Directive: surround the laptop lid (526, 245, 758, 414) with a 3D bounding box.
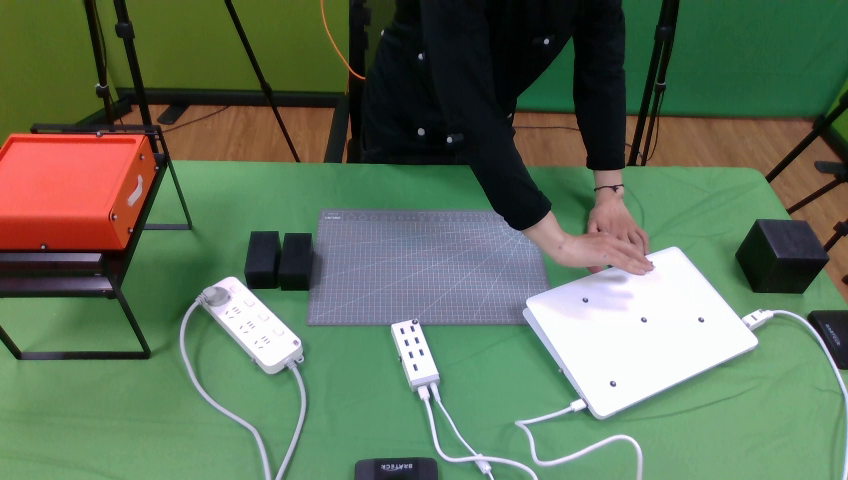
[{"bbox_3d":[0.381,0.141,1.059,0.357,0.013,0.240,-16,56,-19],"label":"laptop lid"}]

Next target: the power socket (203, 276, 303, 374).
[{"bbox_3d":[-0.296,0.141,1.034,0.225,0.033,0.072,37,55,27],"label":"power socket"}]

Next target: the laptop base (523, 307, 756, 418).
[{"bbox_3d":[0.381,0.159,1.078,0.355,0.023,0.234,-17,48,-19],"label":"laptop base"}]

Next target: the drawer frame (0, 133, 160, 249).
[{"bbox_3d":[-0.553,-0.078,0.942,0.214,0.083,0.200,-1,47,-4],"label":"drawer frame"}]

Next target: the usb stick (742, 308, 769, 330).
[{"bbox_3d":[0.587,0.146,1.087,0.059,0.027,0.021,-23,50,-15],"label":"usb stick"}]

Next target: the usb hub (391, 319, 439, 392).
[{"bbox_3d":[-0.016,0.190,1.013,0.049,0.025,0.124,-11,48,-15],"label":"usb hub"}]

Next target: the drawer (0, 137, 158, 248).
[{"bbox_3d":[-0.549,-0.079,0.944,0.212,0.073,0.193,0,47,-4],"label":"drawer"}]

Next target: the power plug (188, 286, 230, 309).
[{"bbox_3d":[-0.369,0.103,1.039,0.072,0.053,0.035,-26,53,-23],"label":"power plug"}]

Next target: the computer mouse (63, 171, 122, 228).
[{"bbox_3d":[-0.522,-0.067,0.955,0.063,0.041,0.116,1,49,-9],"label":"computer mouse"}]
